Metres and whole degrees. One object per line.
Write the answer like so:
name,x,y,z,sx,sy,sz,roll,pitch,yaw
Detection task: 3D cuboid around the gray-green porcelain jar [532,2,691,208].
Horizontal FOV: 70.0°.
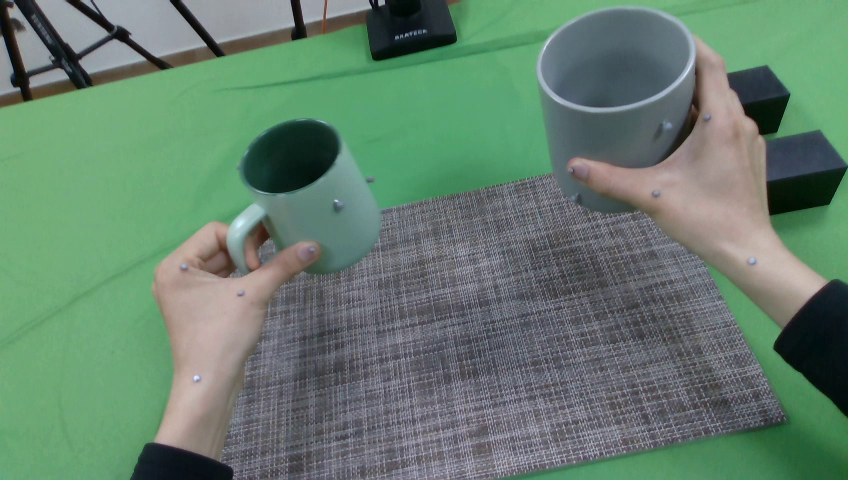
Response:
gray-green porcelain jar,0.142,-0.095,0.462,0.105,0.128,0.105,-9,55,13

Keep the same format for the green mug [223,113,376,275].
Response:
green mug,-0.103,-0.024,0.481,0.092,0.106,0.125,30,67,29
